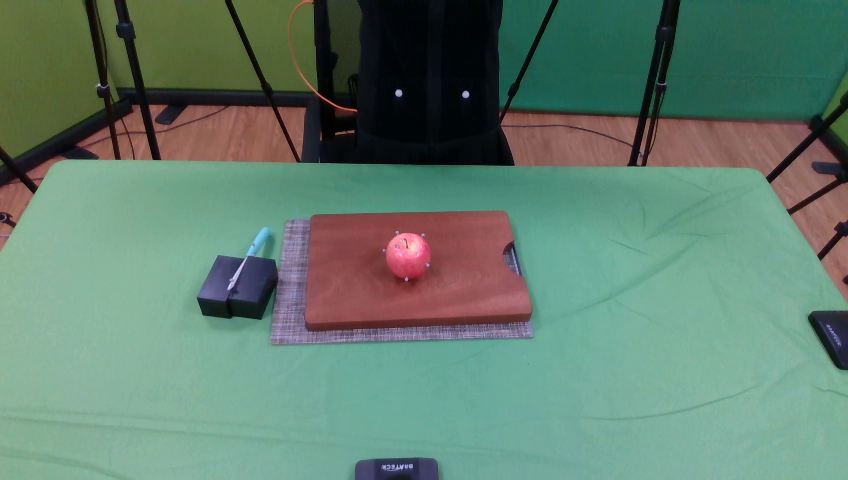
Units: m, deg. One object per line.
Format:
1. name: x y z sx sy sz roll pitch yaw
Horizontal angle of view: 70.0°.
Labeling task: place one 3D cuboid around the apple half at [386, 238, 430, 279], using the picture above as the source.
1. apple half: -0.032 0.039 1.084 0.081 0.075 0.053 11 50 1

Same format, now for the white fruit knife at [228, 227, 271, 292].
1. white fruit knife: -0.318 0.031 1.107 0.016 0.027 0.206 5 32 3

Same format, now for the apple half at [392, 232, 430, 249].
1. apple half: -0.025 0.010 1.110 0.081 0.081 0.032 8 50 4
